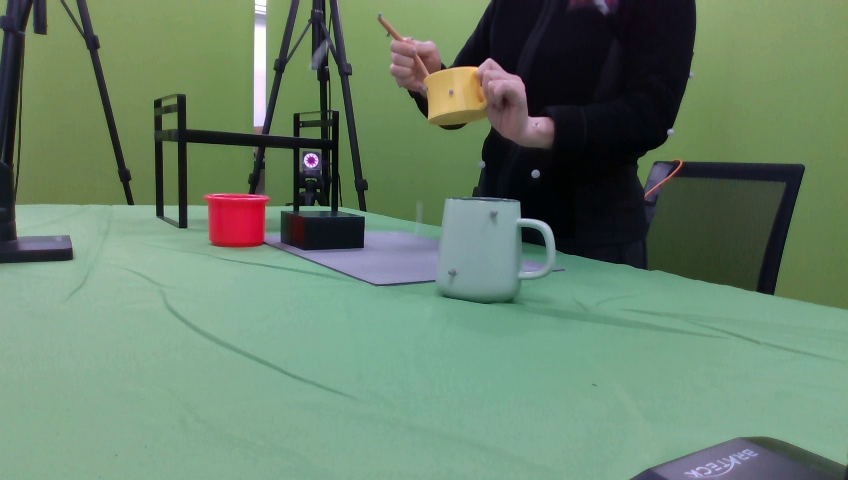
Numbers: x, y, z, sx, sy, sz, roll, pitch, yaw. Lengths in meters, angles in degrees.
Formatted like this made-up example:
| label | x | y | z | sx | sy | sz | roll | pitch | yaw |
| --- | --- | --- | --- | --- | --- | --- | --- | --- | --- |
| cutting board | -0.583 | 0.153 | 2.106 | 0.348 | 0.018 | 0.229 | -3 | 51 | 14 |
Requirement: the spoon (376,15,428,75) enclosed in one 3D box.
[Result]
| label | x | y | z | sx | sy | sz | roll | pitch | yaw |
| --- | --- | --- | --- | --- | --- | --- | --- | --- | --- |
| spoon | -0.011 | -0.278 | 0.943 | 0.021 | 0.193 | 0.041 | -37 | -3 | 1 |

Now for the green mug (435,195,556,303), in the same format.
| label | x | y | z | sx | sy | sz | roll | pitch | yaw |
| --- | --- | --- | --- | --- | --- | --- | --- | --- | --- |
| green mug | 0.074 | 0.009 | 0.624 | 0.125 | 0.105 | 0.093 | 5 | 7 | 23 |

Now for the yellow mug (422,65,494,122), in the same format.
| label | x | y | z | sx | sy | sz | roll | pitch | yaw |
| --- | --- | --- | --- | --- | --- | --- | --- | --- | --- |
| yellow mug | 0.060 | -0.225 | 0.921 | 0.100 | 0.064 | 0.130 | -8 | 2 | -39 |
